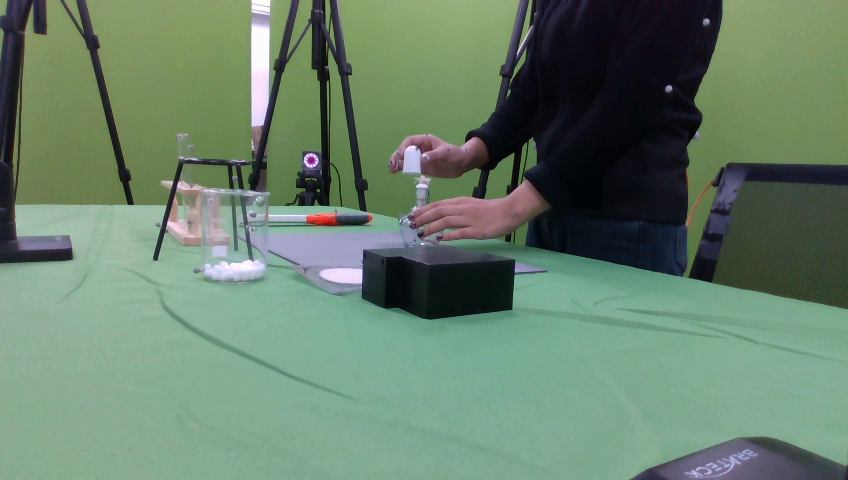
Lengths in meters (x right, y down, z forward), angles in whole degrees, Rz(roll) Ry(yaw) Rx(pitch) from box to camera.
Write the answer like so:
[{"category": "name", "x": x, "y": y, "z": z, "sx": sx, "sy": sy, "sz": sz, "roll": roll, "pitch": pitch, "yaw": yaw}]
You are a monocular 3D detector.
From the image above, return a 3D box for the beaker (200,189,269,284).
[{"category": "beaker", "x": -0.209, "y": -0.006, "z": 0.676, "sx": 0.073, "sy": 0.100, "sz": 0.084, "roll": 7, "pitch": 8, "yaw": 28}]

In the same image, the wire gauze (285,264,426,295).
[{"category": "wire gauze", "x": -0.079, "y": 0.039, "z": 0.692, "sx": 0.122, "sy": 0.011, "sz": 0.124, "roll": -4, "pitch": 11, "yaw": -37}]

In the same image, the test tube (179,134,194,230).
[{"category": "test tube", "x": -0.366, "y": -0.089, "z": 0.938, "sx": 0.017, "sy": 0.150, "sz": 0.017, "roll": -1, "pitch": 9, "yaw": 1}]

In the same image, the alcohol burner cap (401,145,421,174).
[{"category": "alcohol burner cap", "x": -0.021, "y": -0.135, "z": 1.005, "sx": 0.034, "sy": 0.048, "sz": 0.034, "roll": 3, "pitch": 11, "yaw": 0}]

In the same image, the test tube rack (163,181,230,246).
[{"category": "test tube rack", "x": -0.387, "y": -0.050, "z": 1.015, "sx": 0.067, "sy": 0.085, "sz": 0.241, "roll": -2, "pitch": 9, "yaw": -30}]

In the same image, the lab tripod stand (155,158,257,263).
[{"category": "lab tripod stand", "x": -0.275, "y": -0.041, "z": 0.797, "sx": 0.148, "sy": 0.131, "sz": 0.148, "roll": 2, "pitch": 9, "yaw": 0}]

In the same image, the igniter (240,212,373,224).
[{"category": "igniter", "x": -0.237, "y": -0.045, "z": 1.250, "sx": 0.278, "sy": 0.025, "sz": 0.057, "roll": -2, "pitch": -2, "yaw": -31}]

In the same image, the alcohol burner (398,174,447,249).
[{"category": "alcohol burner", "x": -0.002, "y": -0.046, "z": 0.973, "sx": 0.078, "sy": 0.119, "sz": 0.078, "roll": 0, "pitch": 7, "yaw": 0}]
